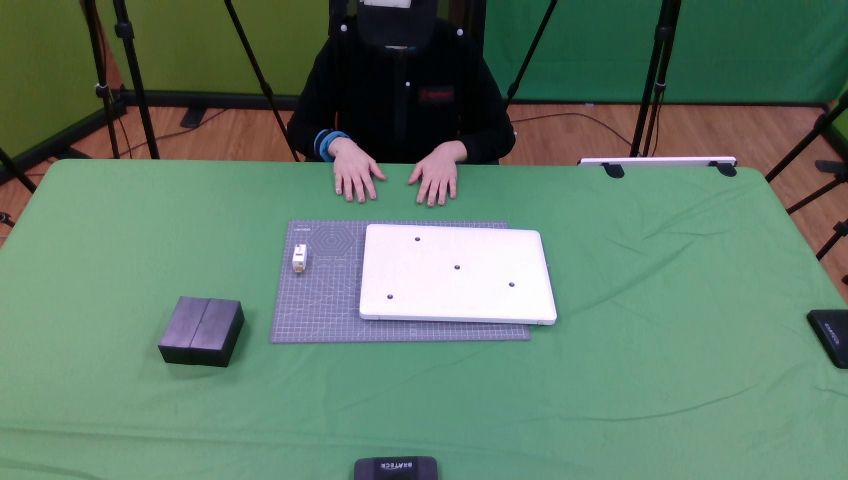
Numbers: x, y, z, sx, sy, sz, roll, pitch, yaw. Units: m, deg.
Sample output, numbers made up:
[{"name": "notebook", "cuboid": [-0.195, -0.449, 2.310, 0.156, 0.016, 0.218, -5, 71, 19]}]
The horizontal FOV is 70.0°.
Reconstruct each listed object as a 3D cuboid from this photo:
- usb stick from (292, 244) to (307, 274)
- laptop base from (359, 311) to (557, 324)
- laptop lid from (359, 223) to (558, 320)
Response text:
[{"name": "usb stick", "cuboid": [-0.234, 0.036, 1.137, 0.021, 0.027, 0.059, 3, 49, -4]}, {"name": "laptop base", "cuboid": [0.061, 0.063, 1.145, 0.354, 0.023, 0.234, 2, 43, -3]}, {"name": "laptop lid", "cuboid": [0.061, 0.053, 1.138, 0.357, 0.013, 0.240, 3, 44, -2]}]
